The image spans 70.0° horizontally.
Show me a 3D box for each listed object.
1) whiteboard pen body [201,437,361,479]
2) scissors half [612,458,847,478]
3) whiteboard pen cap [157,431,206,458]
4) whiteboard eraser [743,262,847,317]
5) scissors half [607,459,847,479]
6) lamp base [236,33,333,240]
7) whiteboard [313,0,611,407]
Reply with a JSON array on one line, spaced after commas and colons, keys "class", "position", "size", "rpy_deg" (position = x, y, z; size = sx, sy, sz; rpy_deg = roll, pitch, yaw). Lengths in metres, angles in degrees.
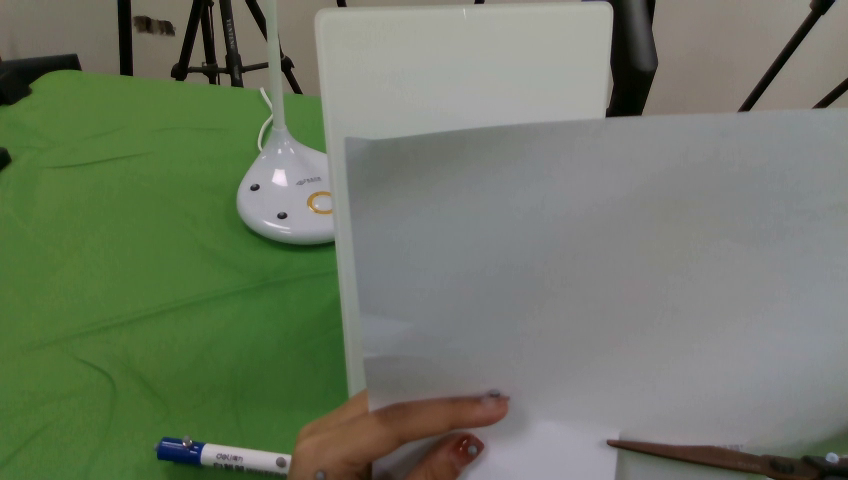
[{"class": "whiteboard pen body", "position": [-0.116, 0.158, 0.442], "size": [0.141, 0.017, 0.017], "rpy_deg": [8, 39, 1]}, {"class": "scissors half", "position": [0.169, 0.101, 0.269], "size": [0.175, 0.040, 0.013], "rpy_deg": [1, 81, -5]}, {"class": "whiteboard pen cap", "position": [-0.175, 0.150, 0.442], "size": [0.033, 0.018, 0.018], "rpy_deg": [7, 39, -1]}, {"class": "whiteboard eraser", "position": [0.390, 0.050, 0.614], "size": [0.113, 0.042, 0.055], "rpy_deg": [1, 41, -5]}, {"class": "scissors half", "position": [0.165, 0.099, 0.247], "size": [0.174, 0.013, 0.040], "rpy_deg": [-2, -5, 22]}, {"class": "lamp base", "position": [-0.137, -0.118, 0.656], "size": [0.161, 0.182, 0.177], "rpy_deg": [-28, 47, -34]}, {"class": "whiteboard", "position": [0.022, -0.042, 0.527], "size": [0.218, 0.307, 0.142], "rpy_deg": [-7, 22, -13]}]
